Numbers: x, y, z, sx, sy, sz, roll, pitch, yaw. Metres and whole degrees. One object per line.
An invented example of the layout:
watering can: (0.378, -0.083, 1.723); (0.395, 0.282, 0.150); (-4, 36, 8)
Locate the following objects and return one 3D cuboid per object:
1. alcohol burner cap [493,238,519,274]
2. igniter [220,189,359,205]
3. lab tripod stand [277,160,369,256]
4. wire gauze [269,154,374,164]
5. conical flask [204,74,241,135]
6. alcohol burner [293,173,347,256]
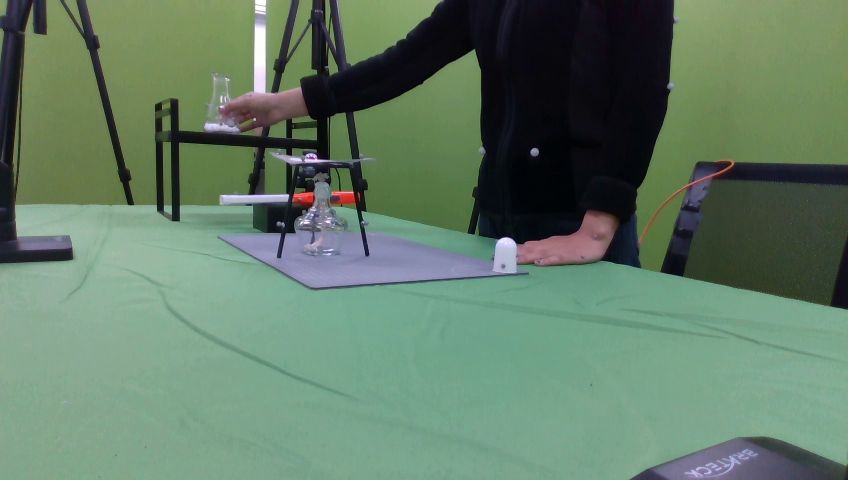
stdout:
alcohol burner cap: (0.107, 0.021, 0.785); (0.034, 0.048, 0.034); (0, 7, 0)
igniter: (-0.246, -0.081, 1.158); (0.278, 0.025, 0.057); (-5, 7, -33)
lab tripod stand: (-0.149, -0.046, 0.861); (0.148, 0.131, 0.148); (3, 9, 0)
wire gauze: (-0.146, -0.114, 0.860); (0.122, 0.011, 0.124); (-2, 9, -28)
conical flask: (-0.423, -0.284, 1.271); (0.075, 0.122, 0.075); (3, 7, 0)
alcohol burner: (-0.148, -0.037, 0.868); (0.078, 0.119, 0.078); (4, 8, 0)
